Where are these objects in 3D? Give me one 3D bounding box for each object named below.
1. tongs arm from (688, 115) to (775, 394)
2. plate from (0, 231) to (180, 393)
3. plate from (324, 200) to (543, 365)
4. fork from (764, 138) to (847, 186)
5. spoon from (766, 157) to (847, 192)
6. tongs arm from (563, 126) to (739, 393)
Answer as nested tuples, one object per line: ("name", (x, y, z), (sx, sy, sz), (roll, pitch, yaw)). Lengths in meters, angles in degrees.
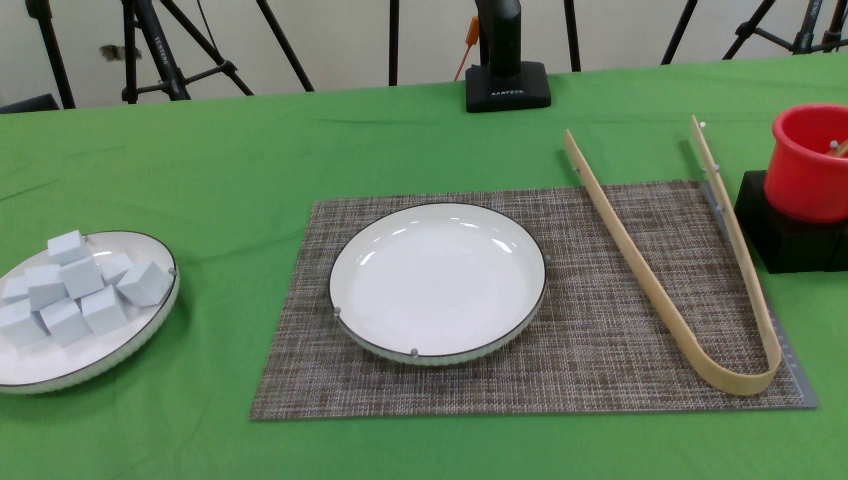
("tongs arm", (0.288, -0.015, 0.611), (0.050, 0.027, 0.381), (1, 43, 7))
("plate", (-0.348, 0.070, 0.609), (0.209, 0.038, 0.207), (-4, 41, 4))
("plate", (0.009, 0.040, 0.586), (0.207, 0.039, 0.205), (-4, 42, 4))
("fork", (0.404, -0.102, 0.530), (0.207, 0.019, 0.028), (-36, 8, 30))
("spoon", (0.375, -0.073, 0.501), (0.041, 0.193, 0.021), (-26, 87, -27))
("tongs arm", (0.206, -0.009, 0.617), (0.028, 0.028, 0.383), (-6, 42, -6))
